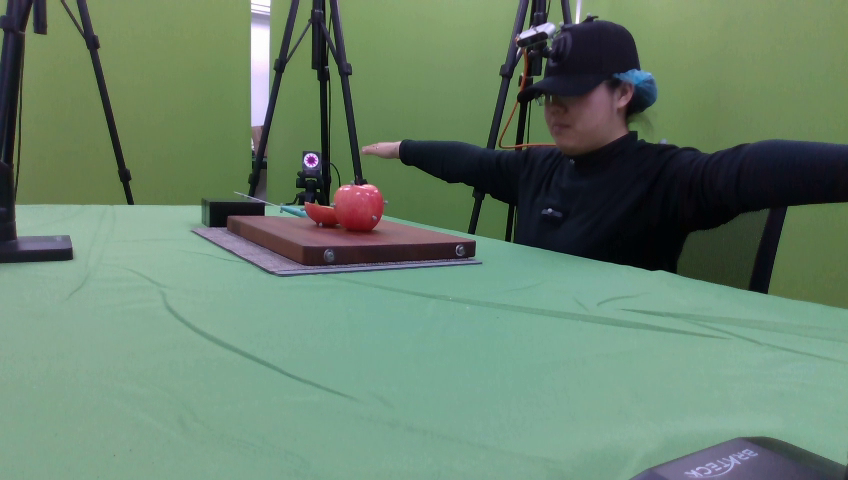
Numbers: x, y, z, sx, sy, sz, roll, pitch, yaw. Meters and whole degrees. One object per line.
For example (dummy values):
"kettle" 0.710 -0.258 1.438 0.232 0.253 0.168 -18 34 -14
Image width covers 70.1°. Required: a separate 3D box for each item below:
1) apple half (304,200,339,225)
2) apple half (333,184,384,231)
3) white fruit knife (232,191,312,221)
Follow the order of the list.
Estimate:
"apple half" -0.163 -0.040 1.000 0.081 0.033 0.081 15 -2 1
"apple half" -0.097 -0.050 0.949 0.081 0.074 0.053 1 11 -38
"white fruit knife" -0.285 -0.065 1.221 0.208 0.016 0.027 18 -2 -31
